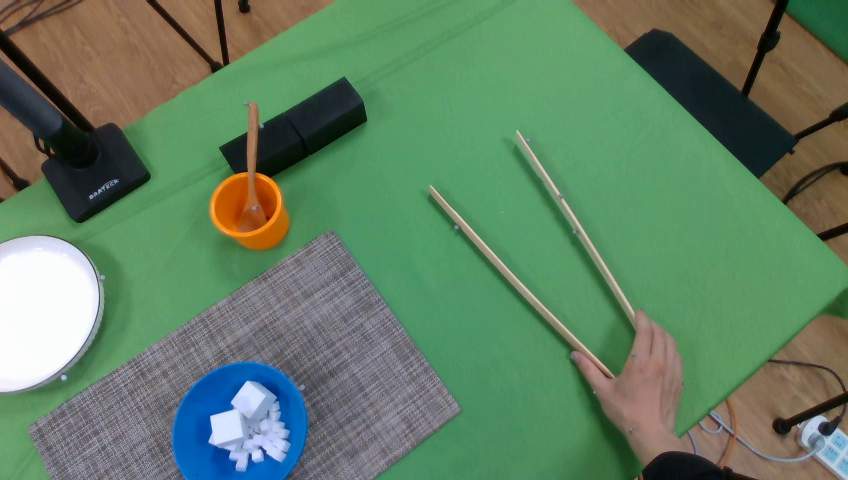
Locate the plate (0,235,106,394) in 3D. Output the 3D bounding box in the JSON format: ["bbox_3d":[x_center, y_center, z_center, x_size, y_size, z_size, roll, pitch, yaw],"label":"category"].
[{"bbox_3d":[-0.513,0.096,0.786,0.208,0.039,0.206,0,71,1],"label":"plate"}]

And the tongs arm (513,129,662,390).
[{"bbox_3d":[0.201,0.016,0.800,0.051,0.027,0.382,-28,73,-8],"label":"tongs arm"}]

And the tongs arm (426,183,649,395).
[{"bbox_3d":[0.134,0.059,0.789,0.028,0.028,0.385,-40,75,-15],"label":"tongs arm"}]

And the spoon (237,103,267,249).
[{"bbox_3d":[-0.223,-0.079,0.784,0.041,0.195,0.021,12,27,9],"label":"spoon"}]

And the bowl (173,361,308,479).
[{"bbox_3d":[-0.203,0.223,0.708,0.151,0.077,0.150,0,70,1],"label":"bowl"}]
